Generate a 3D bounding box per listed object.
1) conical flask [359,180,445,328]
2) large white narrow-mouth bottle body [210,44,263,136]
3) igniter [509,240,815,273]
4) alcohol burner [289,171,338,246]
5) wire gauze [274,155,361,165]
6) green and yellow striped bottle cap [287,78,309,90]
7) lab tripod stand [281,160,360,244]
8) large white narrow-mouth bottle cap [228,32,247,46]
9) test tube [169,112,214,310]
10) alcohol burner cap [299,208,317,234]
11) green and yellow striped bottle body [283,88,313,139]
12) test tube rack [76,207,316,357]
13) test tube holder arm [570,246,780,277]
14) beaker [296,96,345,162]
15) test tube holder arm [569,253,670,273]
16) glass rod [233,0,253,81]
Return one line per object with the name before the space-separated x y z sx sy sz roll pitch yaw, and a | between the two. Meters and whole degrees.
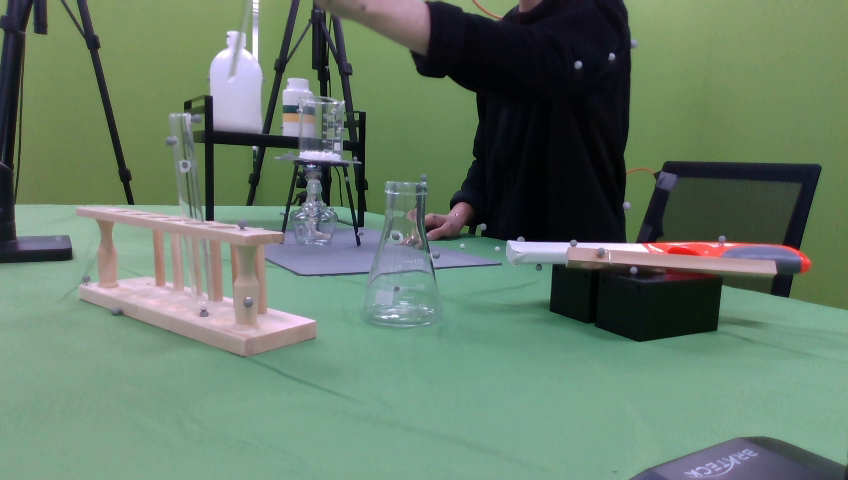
conical flask | -0.017 0.010 0.522 0.075 0.122 0.075 2 7 0
large white narrow-mouth bottle body | -0.369 -0.305 1.194 0.102 0.194 0.102 3 8 0
igniter | 0.220 0.015 0.566 0.277 0.025 0.057 2 17 0
alcohol burner | -0.177 -0.051 0.968 0.078 0.119 0.078 0 6 0
wire gauze | -0.174 -0.129 0.978 0.125 0.011 0.121 -2 6 -19
green and yellow striped bottle cap | -0.265 -0.326 1.268 0.045 0.020 0.045 4 6 0
lab tripod stand | -0.170 -0.063 0.983 0.148 0.131 0.148 1 7 0
large white narrow-mouth bottle cap | -0.364 -0.391 1.180 0.038 0.024 0.037 3 8 0
test tube | -0.175 -0.020 0.455 0.017 0.150 0.017 -3 9 1
alcohol burner cap | -0.213 -0.035 1.110 0.034 0.048 0.034 2 7 0
green and yellow striped bottle body | -0.266 -0.275 1.275 0.063 0.119 0.063 2 7 0
test tube rack | -0.196 0.023 0.499 0.241 0.085 0.067 8 9 36
test tube holder arm | 0.217 0.019 0.524 0.178 0.015 0.013 3 -23 3
beaker | -0.163 -0.175 0.966 0.083 0.100 0.074 7 8 34
test tube holder arm | 0.172 0.019 0.532 0.088 0.015 0.010 3 -23 3
glass rod | -0.182 -0.268 0.643 0.008 0.199 0.008 15 17 -4
